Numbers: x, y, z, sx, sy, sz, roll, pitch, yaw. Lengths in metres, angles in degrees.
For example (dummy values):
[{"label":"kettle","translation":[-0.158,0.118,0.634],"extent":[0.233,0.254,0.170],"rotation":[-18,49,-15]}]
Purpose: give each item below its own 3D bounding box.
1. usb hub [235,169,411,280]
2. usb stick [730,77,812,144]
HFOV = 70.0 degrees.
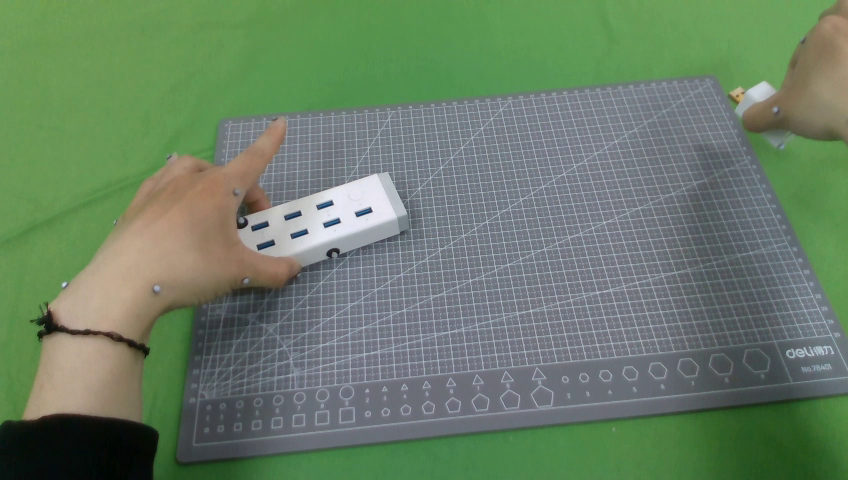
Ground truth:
[{"label":"usb hub","translation":[-0.076,-0.014,0.462],"extent":[0.125,0.025,0.049],"rotation":[-19,58,-11]},{"label":"usb stick","translation":[0.262,-0.104,0.464],"extent":[0.021,0.027,0.058],"rotation":[-31,62,-11]}]
